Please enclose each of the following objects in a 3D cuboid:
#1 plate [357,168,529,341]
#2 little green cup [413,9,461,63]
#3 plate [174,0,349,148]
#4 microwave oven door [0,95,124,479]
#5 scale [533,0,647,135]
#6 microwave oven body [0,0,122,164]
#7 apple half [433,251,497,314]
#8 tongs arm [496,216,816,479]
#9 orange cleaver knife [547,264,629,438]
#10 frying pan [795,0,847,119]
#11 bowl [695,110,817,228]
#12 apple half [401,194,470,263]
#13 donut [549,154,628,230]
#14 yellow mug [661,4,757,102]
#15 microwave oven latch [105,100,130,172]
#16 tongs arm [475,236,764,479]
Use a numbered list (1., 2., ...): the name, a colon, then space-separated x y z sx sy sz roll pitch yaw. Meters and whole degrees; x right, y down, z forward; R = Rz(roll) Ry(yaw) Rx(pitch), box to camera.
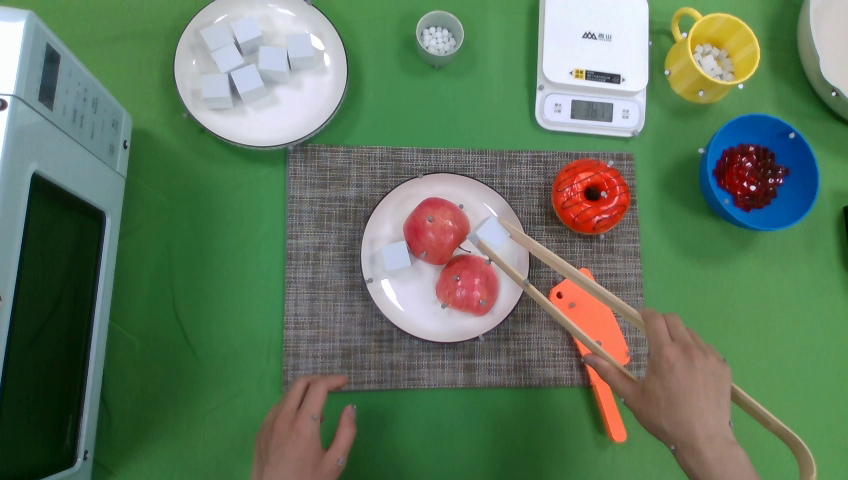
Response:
1. plate: 0.023 0.018 0.737 0.209 0.038 0.208 1 80 -6
2. little green cup: 0.016 -0.262 0.786 0.061 0.039 0.061 1 80 -6
3. plate: -0.197 -0.210 0.753 0.208 0.039 0.207 1 80 -6
4. microwave oven door: -0.359 0.077 0.564 0.039 0.244 0.354 2 80 -6
5. scale: 0.222 -0.244 0.810 0.149 0.031 0.200 5 81 -5
6. microwave oven body: -0.504 0.028 0.561 0.327 0.260 0.440 3 81 -6
7. apple half: 0.052 0.048 0.728 0.081 0.033 0.081 0 81 -2
8. tongs arm: 0.220 0.096 0.618 0.385 0.028 0.028 40 67 19
9. orange cleaver knife: 0.216 0.134 0.748 0.077 0.012 0.210 -17 81 -16
10. frying pan: 0.697 -0.193 0.819 0.307 0.103 0.485 -26 76 -9
11. bowl: 0.410 -0.083 0.781 0.151 0.077 0.151 1 81 -6
12. apple half: 0.014 -0.019 0.726 0.074 0.053 0.081 45 78 6
13. donut: 0.207 -0.061 0.768 0.099 0.048 0.098 1 81 -4
14. yellow mug: 0.372 -0.258 0.812 0.100 0.064 0.130 -32 85 -10
15. microwave oven latch: -0.360 -0.121 0.700 0.030 0.029 0.079 5 81 -6
16. tongs arm: 0.204 0.112 0.611 0.051 0.027 0.382 -39 69 -17
